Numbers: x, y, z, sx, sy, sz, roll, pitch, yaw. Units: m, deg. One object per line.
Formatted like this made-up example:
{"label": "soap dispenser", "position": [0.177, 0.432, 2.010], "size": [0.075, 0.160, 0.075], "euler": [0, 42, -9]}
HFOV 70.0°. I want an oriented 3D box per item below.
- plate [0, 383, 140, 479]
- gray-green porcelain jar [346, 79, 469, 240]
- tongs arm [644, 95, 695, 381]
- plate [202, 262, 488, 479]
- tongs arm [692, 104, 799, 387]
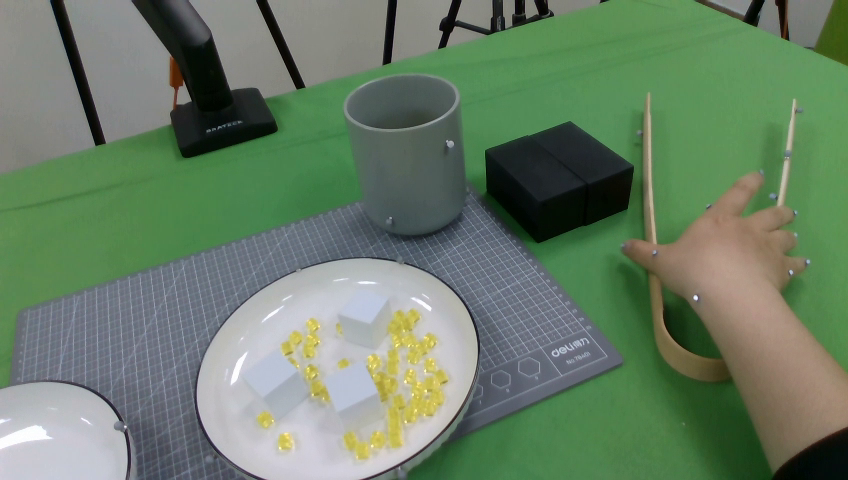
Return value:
{"label": "plate", "position": [-0.283, 0.187, 0.386], "size": [0.209, 0.038, 0.207], "euler": [-5, 41, 5]}
{"label": "gray-green porcelain jar", "position": [-0.011, -0.072, 0.577], "size": [0.106, 0.128, 0.105], "euler": [-4, 41, 4]}
{"label": "tongs arm", "position": [0.225, -0.033, 0.577], "size": [0.028, 0.028, 0.384], "euler": [7, 44, 11]}
{"label": "plate", "position": [-0.056, 0.099, 0.455], "size": [0.207, 0.039, 0.205], "euler": [-4, 40, 4]}
{"label": "tongs arm", "position": [0.301, -0.021, 0.549], "size": [0.050, 0.027, 0.383], "euler": [15, 47, 23]}
